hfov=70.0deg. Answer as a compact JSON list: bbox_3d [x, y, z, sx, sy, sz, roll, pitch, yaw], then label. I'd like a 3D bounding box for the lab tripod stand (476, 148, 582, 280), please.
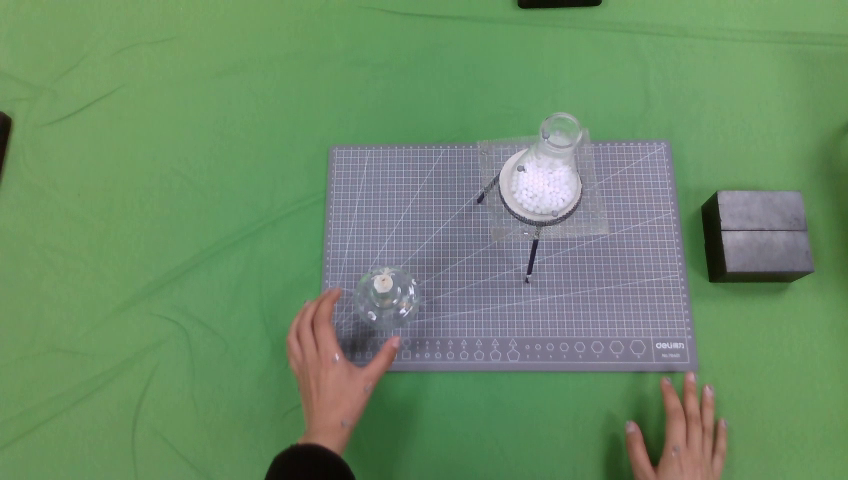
[{"bbox_3d":[0.129,-0.041,0.706,0.148,0.132,0.147,-1,71,2],"label":"lab tripod stand"}]

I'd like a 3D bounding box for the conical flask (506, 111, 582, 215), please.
[{"bbox_3d":[0.122,-0.078,0.586,0.075,0.122,0.075,0,72,2],"label":"conical flask"}]

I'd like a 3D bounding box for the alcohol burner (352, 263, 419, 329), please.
[{"bbox_3d":[-0.045,0.060,0.691,0.078,0.120,0.077,0,71,1],"label":"alcohol burner"}]

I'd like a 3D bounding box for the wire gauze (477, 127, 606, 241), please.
[{"bbox_3d":[0.124,-0.059,0.643,0.125,0.011,0.121,-5,74,-2],"label":"wire gauze"}]
